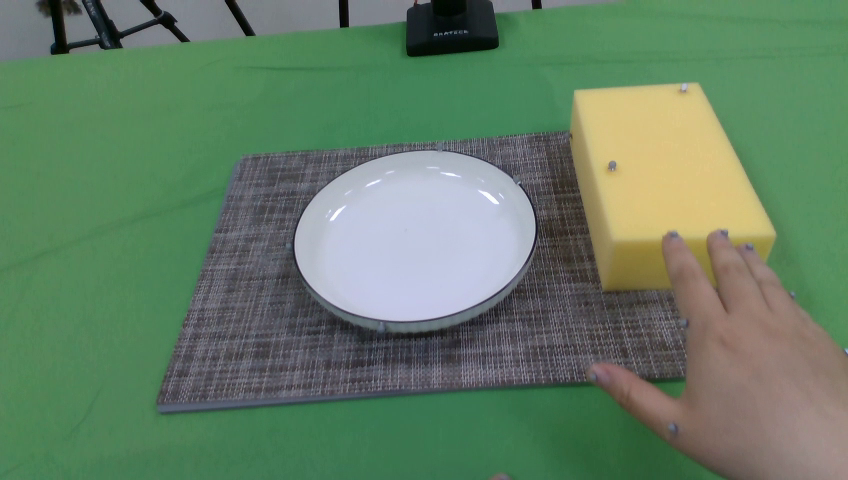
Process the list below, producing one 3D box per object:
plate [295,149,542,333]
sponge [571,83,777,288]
[{"bbox_3d":[-0.004,-0.001,0.521,0.207,0.039,0.205,-4,45,4],"label":"plate"},{"bbox_3d":[0.203,-0.055,0.531,0.118,0.061,0.205,-3,45,4],"label":"sponge"}]
